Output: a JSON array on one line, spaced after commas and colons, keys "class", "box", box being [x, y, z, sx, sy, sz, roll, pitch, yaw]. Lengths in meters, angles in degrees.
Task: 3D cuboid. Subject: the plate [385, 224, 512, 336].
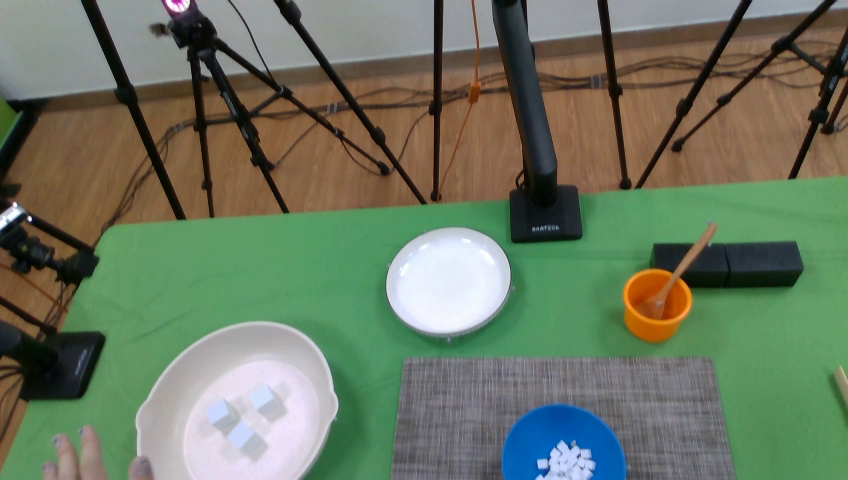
[{"class": "plate", "box": [0.041, 0.066, 0.991, 0.207, 0.039, 0.205, -6, 55, 8]}]

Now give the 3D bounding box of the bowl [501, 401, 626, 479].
[{"class": "bowl", "box": [0.176, 0.292, 0.773, 0.151, 0.077, 0.150, -5, 54, 8]}]

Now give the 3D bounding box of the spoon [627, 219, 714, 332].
[{"class": "spoon", "box": [0.355, 0.052, 0.867, 0.022, 0.194, 0.041, 1, 34, -44]}]

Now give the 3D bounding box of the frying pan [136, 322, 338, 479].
[{"class": "frying pan", "box": [-0.273, 0.338, 0.823, 0.306, 0.104, 0.483, -5, 46, 10]}]

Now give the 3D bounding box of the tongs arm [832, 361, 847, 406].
[{"class": "tongs arm", "box": [0.573, 0.322, 0.706, 0.028, 0.028, 0.383, -9, 54, 4]}]
